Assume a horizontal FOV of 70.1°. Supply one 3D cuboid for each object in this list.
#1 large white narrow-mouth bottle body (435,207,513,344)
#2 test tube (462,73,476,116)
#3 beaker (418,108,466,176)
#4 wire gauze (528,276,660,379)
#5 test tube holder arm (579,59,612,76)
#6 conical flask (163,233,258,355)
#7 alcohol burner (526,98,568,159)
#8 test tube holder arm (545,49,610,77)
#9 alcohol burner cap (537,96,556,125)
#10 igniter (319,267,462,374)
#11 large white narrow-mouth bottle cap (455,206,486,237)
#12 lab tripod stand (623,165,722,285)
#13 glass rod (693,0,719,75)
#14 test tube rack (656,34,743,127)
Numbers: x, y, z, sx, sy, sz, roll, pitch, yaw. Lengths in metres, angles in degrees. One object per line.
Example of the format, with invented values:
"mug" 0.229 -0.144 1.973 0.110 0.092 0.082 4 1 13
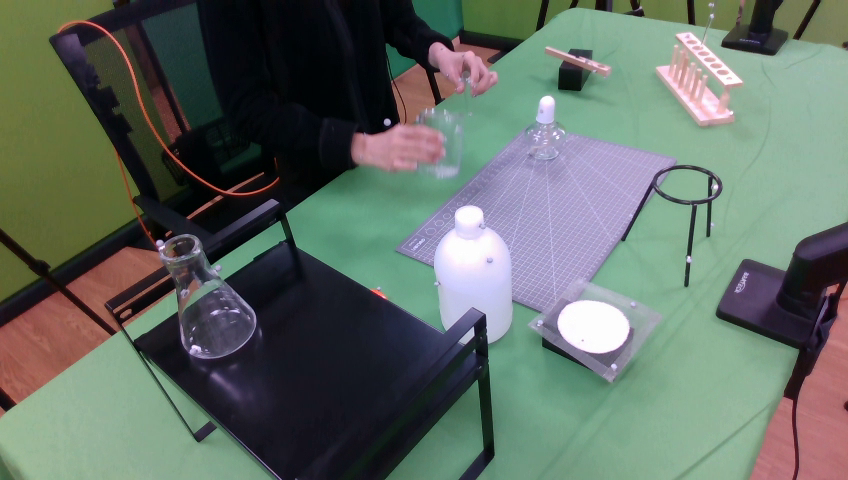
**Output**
"large white narrow-mouth bottle body" 0.065 0.041 0.791 0.102 0.195 0.101 -4 41 4
"test tube" 0.084 -0.264 1.105 0.017 0.151 0.017 -2 77 8
"beaker" 0.028 -0.157 0.967 0.073 0.100 0.084 11 19 24
"wire gauze" 0.214 0.103 0.763 0.124 0.011 0.122 30 52 35
"test tube holder arm" 0.363 -0.368 1.289 0.010 0.015 0.087 -25 43 -31
"conical flask" -0.217 0.051 0.601 0.075 0.122 0.075 -4 40 4
"alcohol burner" 0.228 -0.210 1.118 0.078 0.119 0.077 -5 43 5
"test tube holder arm" 0.330 -0.387 1.314 0.013 0.015 0.177 -25 43 -31
"alcohol burner cap" 0.223 -0.237 1.095 0.034 0.048 0.033 0 42 1
"igniter" -0.059 0.107 0.862 0.274 0.025 0.057 28 62 34
"large white narrow-mouth bottle cap" 0.056 -0.023 0.734 0.038 0.024 0.037 -4 40 4
"lab tripod stand" 0.365 -0.030 0.874 0.148 0.132 0.147 -6 41 6
"glass rod" 0.561 -0.401 1.214 0.008 0.200 0.008 -1 48 2
"test tube rack" 0.553 -0.330 1.233 0.067 0.085 0.241 -7 40 2
